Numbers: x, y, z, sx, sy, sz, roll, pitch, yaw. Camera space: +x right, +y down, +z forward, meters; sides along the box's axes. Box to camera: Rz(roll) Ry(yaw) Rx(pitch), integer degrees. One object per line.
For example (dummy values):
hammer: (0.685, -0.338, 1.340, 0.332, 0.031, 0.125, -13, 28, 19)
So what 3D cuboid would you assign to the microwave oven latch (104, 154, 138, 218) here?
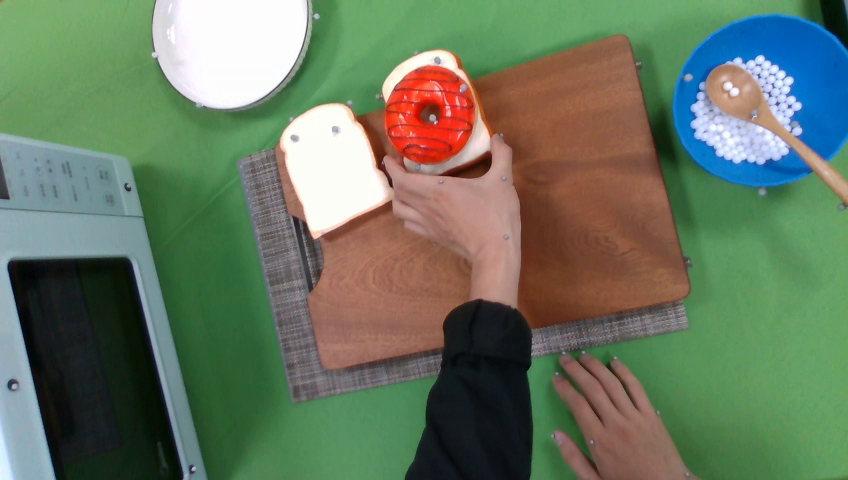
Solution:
microwave oven latch: (-0.378, -0.064, 0.740, 0.030, 0.029, 0.079, -16, 87, 13)

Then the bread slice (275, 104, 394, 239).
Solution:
bread slice: (-0.107, -0.080, 0.668, 0.107, 0.018, 0.134, -29, 83, 12)

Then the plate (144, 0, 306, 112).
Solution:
plate: (-0.232, -0.254, 0.719, 0.207, 0.039, 0.207, 0, 91, 14)

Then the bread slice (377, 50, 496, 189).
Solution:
bread slice: (0.003, -0.132, 0.640, 0.105, 0.019, 0.131, -23, 83, 11)

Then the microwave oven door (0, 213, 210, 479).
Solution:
microwave oven door: (-0.346, 0.147, 0.630, 0.039, 0.244, 0.355, -17, 86, 14)

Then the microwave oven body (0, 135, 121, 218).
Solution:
microwave oven body: (-0.492, 0.147, 0.672, 0.325, 0.261, 0.441, -17, 87, 13)

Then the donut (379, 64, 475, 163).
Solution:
donut: (0.002, -0.126, 0.610, 0.099, 0.048, 0.099, 0, 89, 15)

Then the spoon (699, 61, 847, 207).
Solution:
spoon: (0.315, -0.088, 0.529, 0.041, 0.022, 0.192, -41, 63, 16)

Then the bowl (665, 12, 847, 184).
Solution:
bowl: (0.299, -0.123, 0.564, 0.151, 0.077, 0.151, 0, 91, 14)
